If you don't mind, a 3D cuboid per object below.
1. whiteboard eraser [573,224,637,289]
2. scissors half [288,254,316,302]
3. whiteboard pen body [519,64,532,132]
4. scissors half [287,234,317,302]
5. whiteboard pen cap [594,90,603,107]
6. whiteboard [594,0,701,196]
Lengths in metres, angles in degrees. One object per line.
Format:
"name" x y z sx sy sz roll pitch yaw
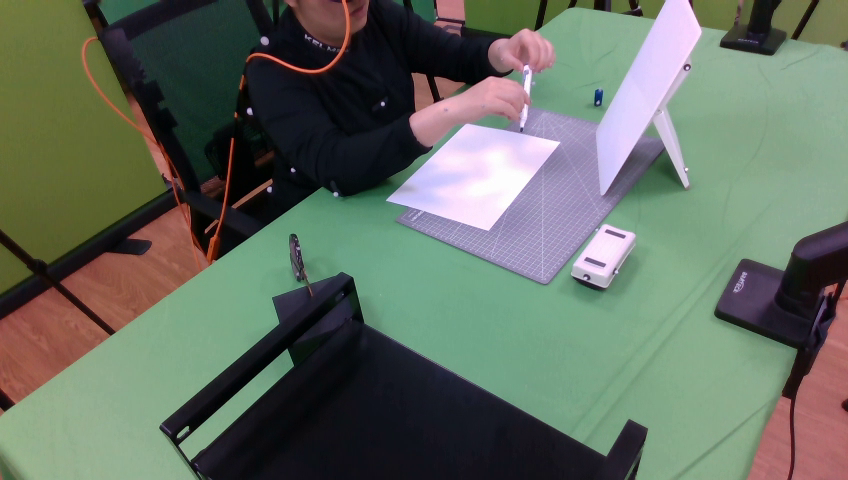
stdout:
"whiteboard eraser" 0.267 0.025 0.891 0.055 0.042 0.113 19 47 31
"scissors half" -0.178 0.058 0.894 0.013 0.040 0.174 -16 21 -18
"whiteboard pen body" 0.179 -0.251 1.071 0.017 0.017 0.140 3 69 13
"scissors half" -0.179 0.040 0.885 0.013 0.040 0.173 -11 36 -20
"whiteboard pen cap" 0.364 -0.294 1.262 0.018 0.033 0.018 -5 41 5
"whiteboard" 0.420 -0.227 1.010 0.144 0.305 0.216 18 42 -2
